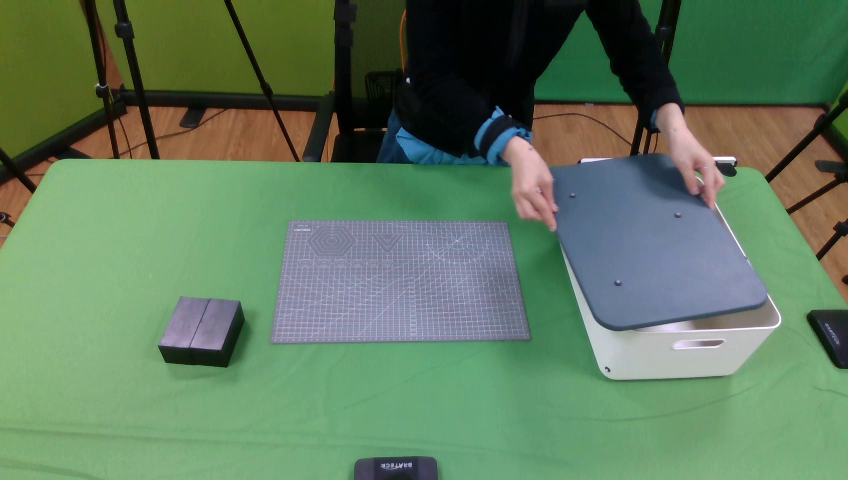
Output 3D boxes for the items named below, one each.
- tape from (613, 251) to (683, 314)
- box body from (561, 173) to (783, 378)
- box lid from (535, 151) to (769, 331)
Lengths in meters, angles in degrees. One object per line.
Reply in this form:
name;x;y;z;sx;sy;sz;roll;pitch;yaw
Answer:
tape;0.413;0.077;1.123;0.117;0.053;0.116;2;45;-2
box body;0.405;0.057;1.074;0.254;0.161;0.361;-2;46;-5
box lid;0.352;-0.015;0.986;0.263;0.015;0.369;-9;46;-3
